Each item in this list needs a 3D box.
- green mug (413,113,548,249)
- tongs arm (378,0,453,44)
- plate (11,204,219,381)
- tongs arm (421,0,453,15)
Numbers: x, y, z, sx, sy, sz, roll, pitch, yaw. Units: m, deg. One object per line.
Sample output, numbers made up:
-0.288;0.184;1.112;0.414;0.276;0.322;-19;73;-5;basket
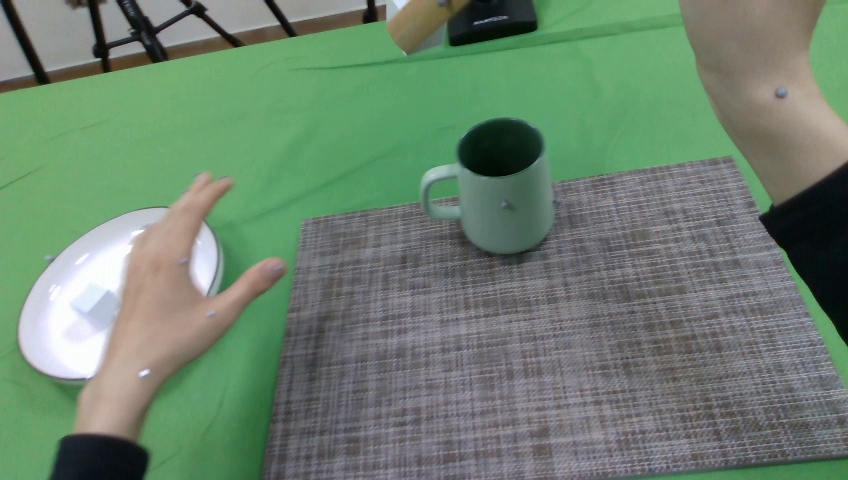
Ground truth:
0.052;-0.050;0.565;0.125;0.106;0.091;-9;51;6;green mug
0.080;-0.177;0.264;0.028;0.028;0.386;-44;15;-31;tongs arm
-0.305;0.052;0.614;0.209;0.038;0.207;-6;51;8;plate
0.097;-0.196;0.277;0.383;0.027;0.050;-18;25;53;tongs arm
